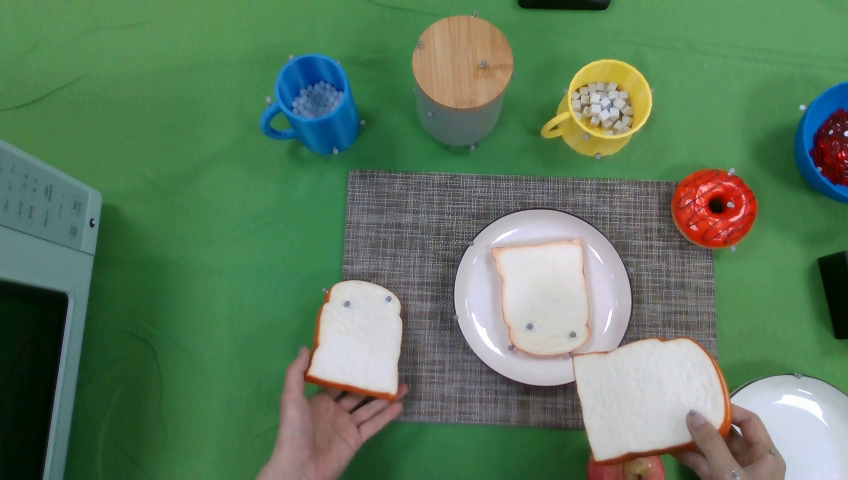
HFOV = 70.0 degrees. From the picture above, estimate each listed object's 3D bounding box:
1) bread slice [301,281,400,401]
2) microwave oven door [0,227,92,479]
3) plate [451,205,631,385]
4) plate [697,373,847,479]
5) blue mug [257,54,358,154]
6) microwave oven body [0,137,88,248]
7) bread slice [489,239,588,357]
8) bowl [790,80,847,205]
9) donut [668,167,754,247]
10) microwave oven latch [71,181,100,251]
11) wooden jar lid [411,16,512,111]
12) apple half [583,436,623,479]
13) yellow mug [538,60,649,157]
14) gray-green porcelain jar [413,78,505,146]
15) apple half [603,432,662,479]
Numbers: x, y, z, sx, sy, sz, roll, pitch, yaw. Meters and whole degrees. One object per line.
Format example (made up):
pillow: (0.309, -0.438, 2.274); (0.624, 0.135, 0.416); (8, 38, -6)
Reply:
bread slice: (-0.076, 0.106, 0.681); (0.105, 0.019, 0.130); (16, 55, -18)
microwave oven door: (-0.418, 0.167, 0.574); (0.039, 0.244, 0.354); (2, 79, 1)
plate: (0.134, 0.064, 0.712); (0.208, 0.039, 0.207); (0, 80, 0)
plate: (0.407, 0.254, 0.680); (0.209, 0.038, 0.208); (0, 79, 0)
blue mug: (-0.141, -0.152, 0.721); (0.116, 0.106, 0.082); (-24, 80, -4)
microwave oven body: (-0.561, 0.120, 0.587); (0.326, 0.261, 0.440); (2, 80, 0)
bread slice: (0.140, 0.069, 0.712); (0.107, 0.018, 0.133); (-9, 79, -1)
bowl: (0.503, -0.106, 0.726); (0.151, 0.077, 0.151); (0, 80, 1)
donut: (0.343, -0.039, 0.727); (0.099, 0.048, 0.098); (0, 80, 0)
microwave oven latch: (-0.404, -0.029, 0.713); (0.030, 0.029, 0.079); (5, 80, 1)
wooden jar lid: (0.040, -0.188, 0.654); (0.108, 0.021, 0.108); (0, 77, 1)
apple half: (0.190, 0.255, 0.661); (0.033, 0.081, 0.081); (-5, 79, -5)
yellow mug: (0.201, -0.154, 0.742); (0.131, 0.064, 0.099); (-21, 80, -3)
gray-green porcelain jar: (0.040, -0.175, 0.715); (0.106, 0.127, 0.105); (0, 79, 0)
apple half: (0.229, 0.250, 0.663); (0.053, 0.075, 0.080); (-7, 77, -5)
